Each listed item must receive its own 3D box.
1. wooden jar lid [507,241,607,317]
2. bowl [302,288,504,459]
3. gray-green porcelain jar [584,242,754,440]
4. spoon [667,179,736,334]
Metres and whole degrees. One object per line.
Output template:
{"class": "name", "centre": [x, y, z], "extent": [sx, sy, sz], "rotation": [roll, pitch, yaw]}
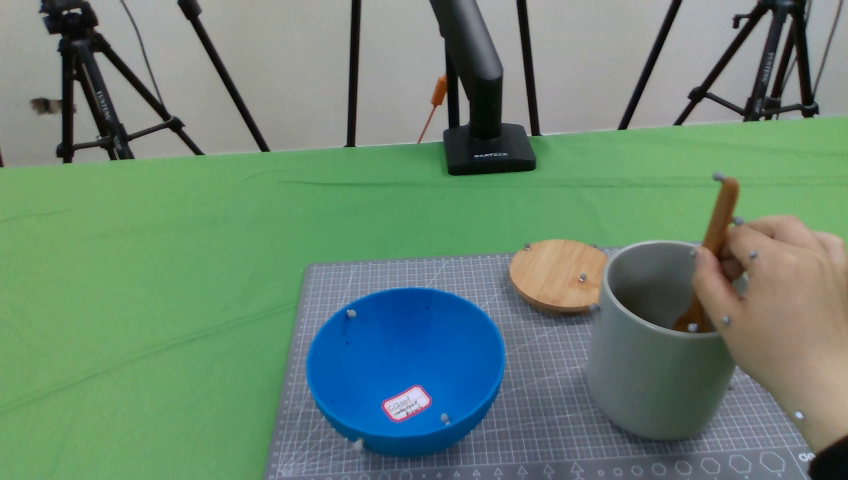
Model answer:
{"class": "wooden jar lid", "centre": [0.139, 0.040, 0.617], "extent": [0.108, 0.021, 0.107], "rotation": [-2, 36, 2]}
{"class": "bowl", "centre": [-0.014, 0.116, 0.476], "extent": [0.151, 0.077, 0.150], "rotation": [-2, 37, 2]}
{"class": "gray-green porcelain jar", "centre": [0.181, 0.082, 0.468], "extent": [0.106, 0.127, 0.105], "rotation": [-2, 37, 2]}
{"class": "spoon", "centre": [0.196, 0.034, 0.430], "extent": [0.021, 0.196, 0.041], "rotation": [-24, 46, -8]}
